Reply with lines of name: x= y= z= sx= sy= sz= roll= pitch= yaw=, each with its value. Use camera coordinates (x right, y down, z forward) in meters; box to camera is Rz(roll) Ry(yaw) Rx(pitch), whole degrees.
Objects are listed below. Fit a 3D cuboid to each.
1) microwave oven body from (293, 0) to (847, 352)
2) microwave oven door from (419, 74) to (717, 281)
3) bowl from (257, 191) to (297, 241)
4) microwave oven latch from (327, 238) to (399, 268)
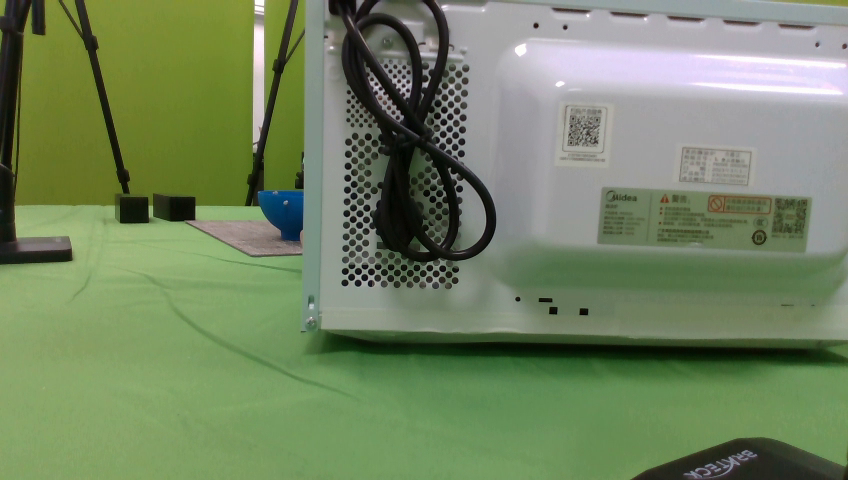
microwave oven body: x=0.122 y=-0.055 z=0.550 sx=0.442 sy=0.260 sz=0.325 roll=3 pitch=7 yaw=-5
microwave oven door: x=0.168 y=-0.087 z=0.774 sx=0.355 sy=0.243 sz=0.039 roll=5 pitch=8 yaw=21
bowl: x=-0.206 y=-0.041 z=1.027 sx=0.151 sy=0.077 sz=0.151 roll=3 pitch=8 yaw=0
microwave oven latch: x=-0.069 y=0.015 z=0.694 sx=0.079 sy=0.029 sz=0.030 roll=3 pitch=7 yaw=-3
